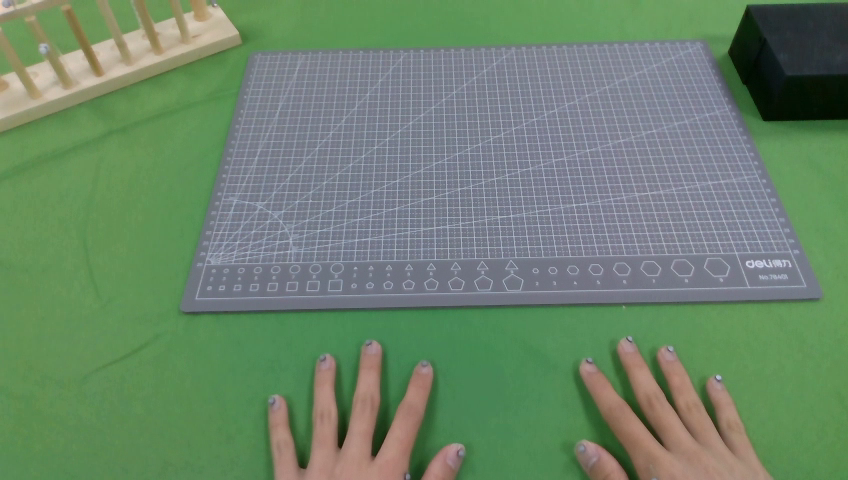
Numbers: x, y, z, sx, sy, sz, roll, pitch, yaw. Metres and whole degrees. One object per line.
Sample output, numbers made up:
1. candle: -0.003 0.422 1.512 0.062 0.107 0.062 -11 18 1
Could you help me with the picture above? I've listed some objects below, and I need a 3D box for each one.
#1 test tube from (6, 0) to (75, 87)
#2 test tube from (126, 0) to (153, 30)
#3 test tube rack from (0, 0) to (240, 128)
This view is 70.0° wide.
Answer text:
1. test tube: -0.334 -0.192 0.505 0.017 0.152 0.017 -1 52 1
2. test tube: -0.277 -0.257 0.545 0.017 0.151 0.017 0 52 1
3. test tube rack: -0.307 -0.196 0.562 0.242 0.086 0.066 -27 57 -17
